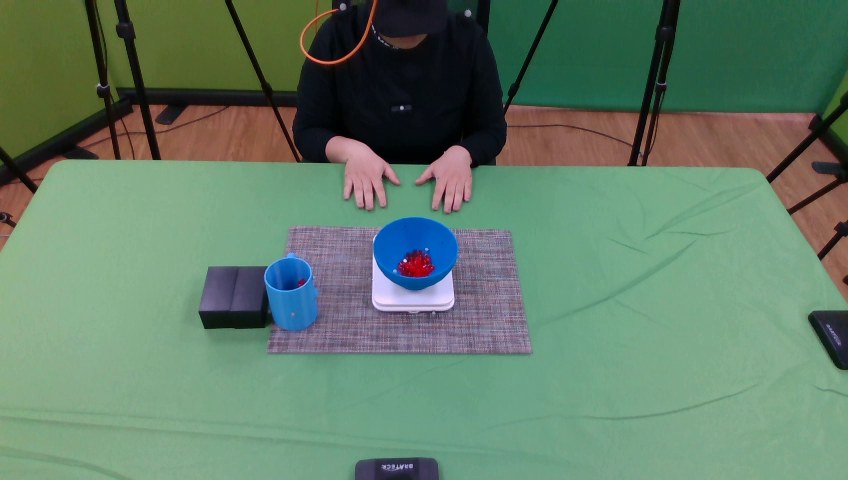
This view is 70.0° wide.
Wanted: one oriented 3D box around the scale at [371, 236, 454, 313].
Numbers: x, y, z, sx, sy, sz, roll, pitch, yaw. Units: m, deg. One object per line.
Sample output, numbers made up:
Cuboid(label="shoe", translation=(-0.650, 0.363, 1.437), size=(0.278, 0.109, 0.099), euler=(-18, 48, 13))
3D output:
Cuboid(label="scale", translation=(-0.023, 0.051, 1.134), size=(0.149, 0.032, 0.199), euler=(1, 46, -4))

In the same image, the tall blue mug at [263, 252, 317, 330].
Cuboid(label="tall blue mug", translation=(-0.233, 0.082, 1.036), size=(0.078, 0.108, 0.106), euler=(-25, 53, -24))

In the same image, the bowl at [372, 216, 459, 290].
Cuboid(label="bowl", translation=(-0.015, 0.036, 1.075), size=(0.151, 0.077, 0.150), euler=(1, 46, -1))
